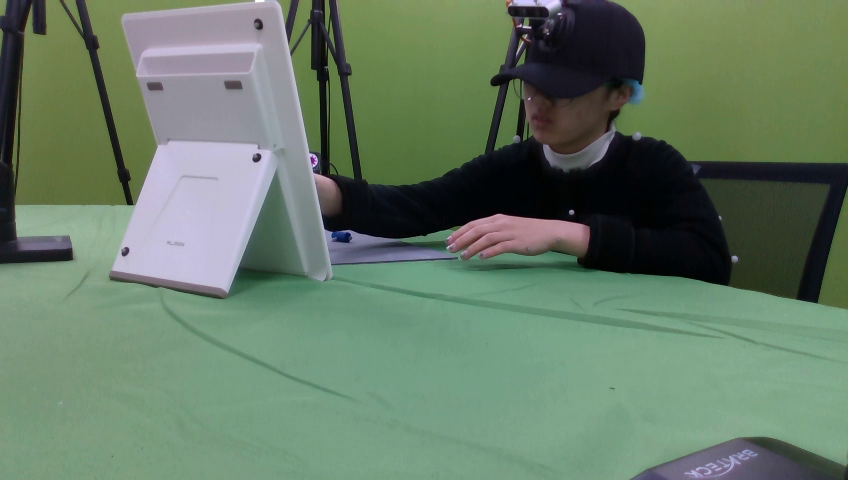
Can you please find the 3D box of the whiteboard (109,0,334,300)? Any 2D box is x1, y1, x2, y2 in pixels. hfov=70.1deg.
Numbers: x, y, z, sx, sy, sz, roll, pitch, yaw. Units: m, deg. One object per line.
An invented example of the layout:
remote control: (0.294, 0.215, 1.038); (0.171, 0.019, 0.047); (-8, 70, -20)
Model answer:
whiteboard: (-0.247, -0.072, 0.624); (0.216, 0.305, 0.144); (6, 28, 26)

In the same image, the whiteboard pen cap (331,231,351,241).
whiteboard pen cap: (-0.139, -0.007, 1.011); (0.033, 0.018, 0.018); (4, 7, 36)

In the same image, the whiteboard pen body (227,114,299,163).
whiteboard pen body: (-0.195, -0.124, 0.739); (0.017, 0.017, 0.141); (5, 33, 24)
